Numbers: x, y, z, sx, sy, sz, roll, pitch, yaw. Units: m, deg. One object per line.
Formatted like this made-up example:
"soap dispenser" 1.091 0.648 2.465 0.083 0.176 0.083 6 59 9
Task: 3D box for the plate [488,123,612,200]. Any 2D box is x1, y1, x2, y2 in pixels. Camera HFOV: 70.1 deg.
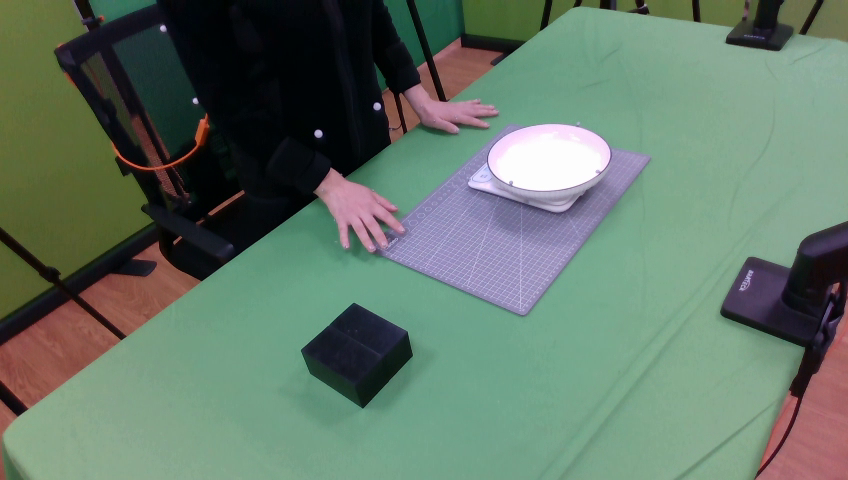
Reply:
"plate" 0.214 -0.132 1.037 0.209 0.038 0.208 -6 41 5

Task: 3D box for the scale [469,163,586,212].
"scale" 0.194 -0.117 1.076 0.199 0.032 0.149 21 48 32
